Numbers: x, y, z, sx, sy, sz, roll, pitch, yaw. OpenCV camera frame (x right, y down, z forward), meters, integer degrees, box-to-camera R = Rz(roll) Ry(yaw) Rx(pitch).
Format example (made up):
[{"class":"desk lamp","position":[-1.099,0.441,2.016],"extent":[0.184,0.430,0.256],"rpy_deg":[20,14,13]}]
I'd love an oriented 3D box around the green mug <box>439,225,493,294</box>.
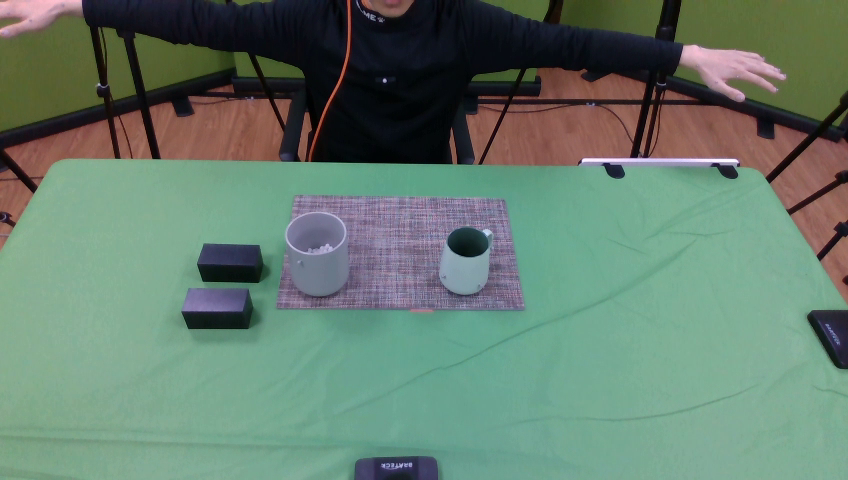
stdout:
[{"class":"green mug","position":[0.086,0.028,1.113],"extent":[0.092,0.105,0.125],"rpy_deg":[31,52,24]}]

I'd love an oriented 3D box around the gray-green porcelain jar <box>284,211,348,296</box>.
[{"class":"gray-green porcelain jar","position":[-0.188,0.029,1.077],"extent":[0.106,0.127,0.105],"rpy_deg":[2,47,-2]}]
